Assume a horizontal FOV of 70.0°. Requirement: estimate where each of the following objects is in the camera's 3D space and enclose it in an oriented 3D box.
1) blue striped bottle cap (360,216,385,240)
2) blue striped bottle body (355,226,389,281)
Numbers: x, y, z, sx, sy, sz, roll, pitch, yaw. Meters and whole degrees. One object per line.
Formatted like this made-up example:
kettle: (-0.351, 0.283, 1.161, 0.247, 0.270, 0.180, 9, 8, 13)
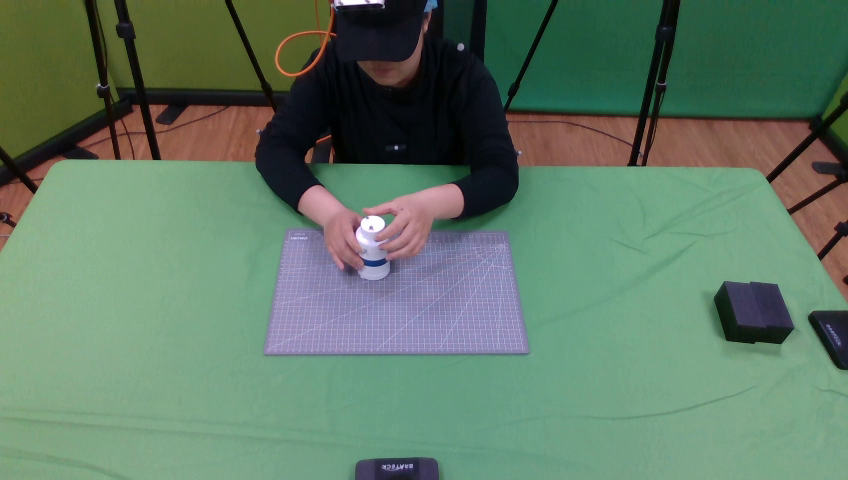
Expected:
blue striped bottle cap: (-0.091, -0.022, 1.070, 0.044, 0.021, 0.044, 3, 46, -2)
blue striped bottle body: (-0.094, 0.014, 1.106, 0.063, 0.121, 0.062, 2, 44, -1)
